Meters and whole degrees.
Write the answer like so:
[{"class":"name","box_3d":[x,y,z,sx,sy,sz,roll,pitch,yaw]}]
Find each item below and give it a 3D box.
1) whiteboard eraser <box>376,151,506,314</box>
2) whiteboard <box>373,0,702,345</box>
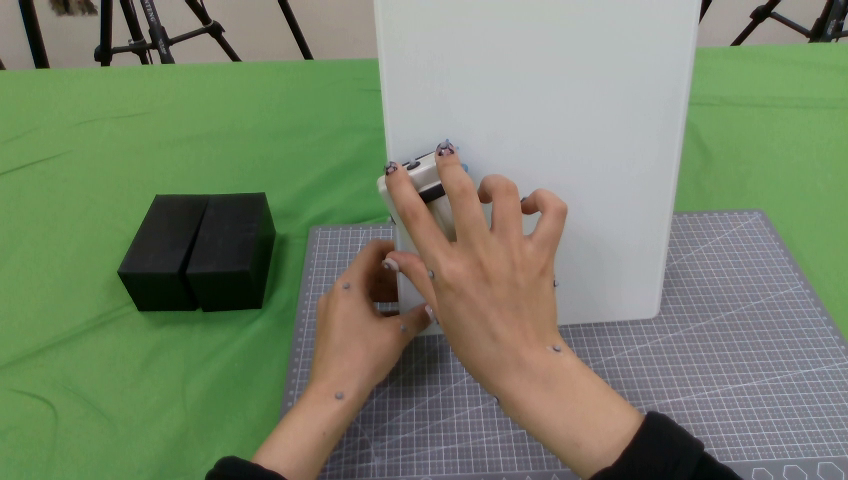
[{"class":"whiteboard eraser","box_3d":[0.014,-0.004,0.439,0.055,0.113,0.041,-26,21,5]},{"class":"whiteboard","box_3d":[0.078,-0.088,0.498,0.217,0.307,0.142,-4,25,-1]}]
